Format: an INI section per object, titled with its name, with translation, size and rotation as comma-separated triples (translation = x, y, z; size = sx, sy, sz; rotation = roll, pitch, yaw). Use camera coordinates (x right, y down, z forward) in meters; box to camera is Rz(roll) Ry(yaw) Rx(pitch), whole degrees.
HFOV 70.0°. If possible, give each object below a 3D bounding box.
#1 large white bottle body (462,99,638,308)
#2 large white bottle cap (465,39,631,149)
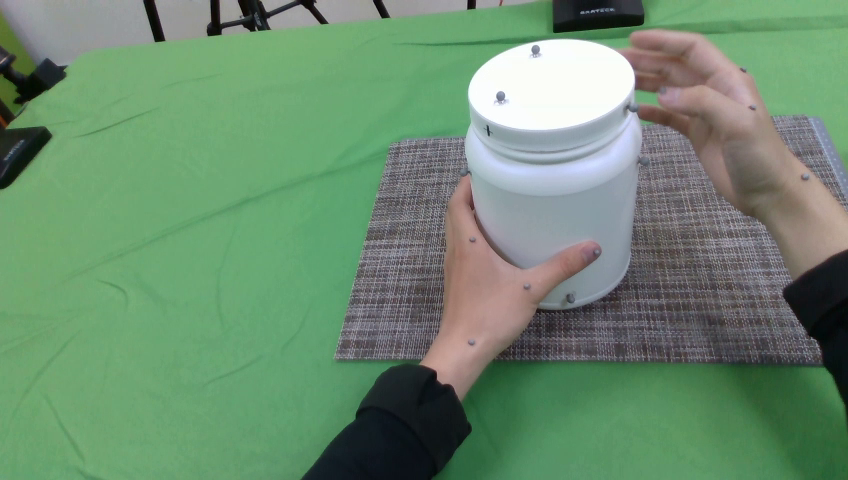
[large white bottle body]
translation = 0.101, -0.047, 0.489
size = 0.130, 0.186, 0.129
rotation = -7, 46, 7
[large white bottle cap]
translation = 0.086, -0.106, 0.428
size = 0.115, 0.018, 0.113
rotation = -7, 46, 7
